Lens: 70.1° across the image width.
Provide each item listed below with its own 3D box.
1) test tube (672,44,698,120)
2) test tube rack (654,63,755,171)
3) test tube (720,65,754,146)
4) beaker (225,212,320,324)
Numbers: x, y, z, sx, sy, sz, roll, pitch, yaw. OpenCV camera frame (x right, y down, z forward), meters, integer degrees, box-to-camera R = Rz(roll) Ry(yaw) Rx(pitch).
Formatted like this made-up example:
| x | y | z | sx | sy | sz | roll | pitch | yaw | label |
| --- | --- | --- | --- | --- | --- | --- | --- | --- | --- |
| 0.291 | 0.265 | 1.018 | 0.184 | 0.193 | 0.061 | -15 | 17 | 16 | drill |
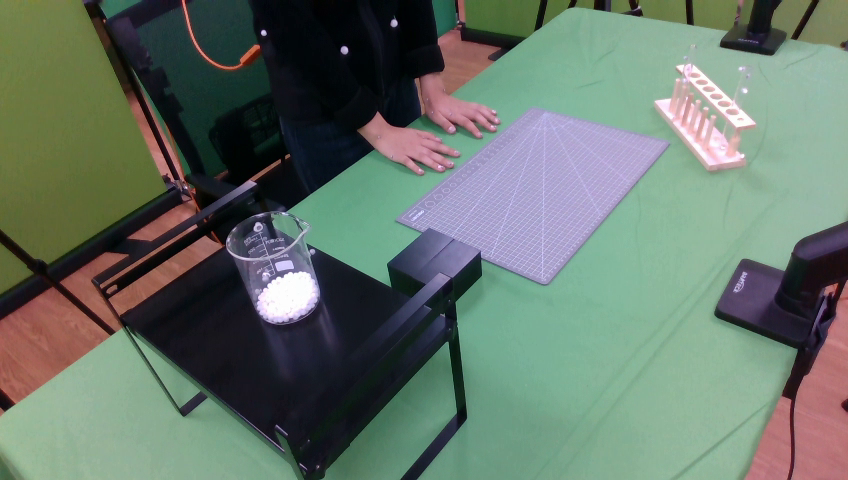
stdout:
| x | y | z | sx | sy | sz | roll | pitch | yaw | label |
| --- | --- | --- | --- | --- | --- | --- | --- | --- | --- |
| 0.484 | -0.291 | 1.122 | 0.017 | 0.151 | 0.017 | -2 | 41 | 2 | test tube |
| 0.510 | -0.233 | 1.120 | 0.067 | 0.085 | 0.241 | -8 | 41 | -1 | test tube rack |
| 0.533 | -0.226 | 1.032 | 0.017 | 0.151 | 0.017 | -1 | 40 | 2 | test tube |
| -0.149 | 0.031 | 0.625 | 0.084 | 0.101 | 0.073 | -18 | 42 | -13 | beaker |
